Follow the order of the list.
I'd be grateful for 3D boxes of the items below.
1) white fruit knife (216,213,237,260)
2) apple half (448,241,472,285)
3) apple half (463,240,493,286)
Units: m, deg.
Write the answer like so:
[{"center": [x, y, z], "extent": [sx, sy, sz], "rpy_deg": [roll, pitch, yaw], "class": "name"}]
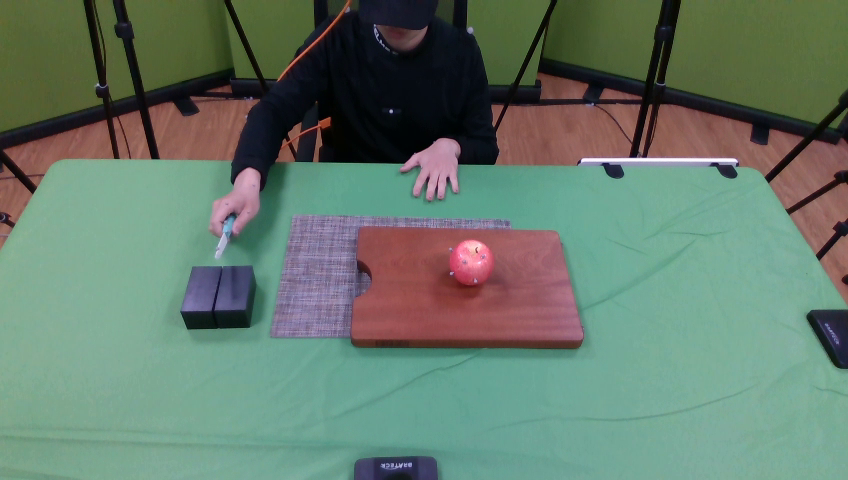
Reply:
[{"center": [-0.356, -0.009, 1.088], "extent": [0.016, 0.027, 0.206], "rpy_deg": [-7, 23, -7], "class": "white fruit knife"}, {"center": [0.059, 0.046, 1.085], "extent": [0.033, 0.081, 0.080], "rpy_deg": [-4, 46, -13], "class": "apple half"}, {"center": [0.097, 0.042, 1.093], "extent": [0.053, 0.075, 0.080], "rpy_deg": [-3, 42, -13], "class": "apple half"}]
